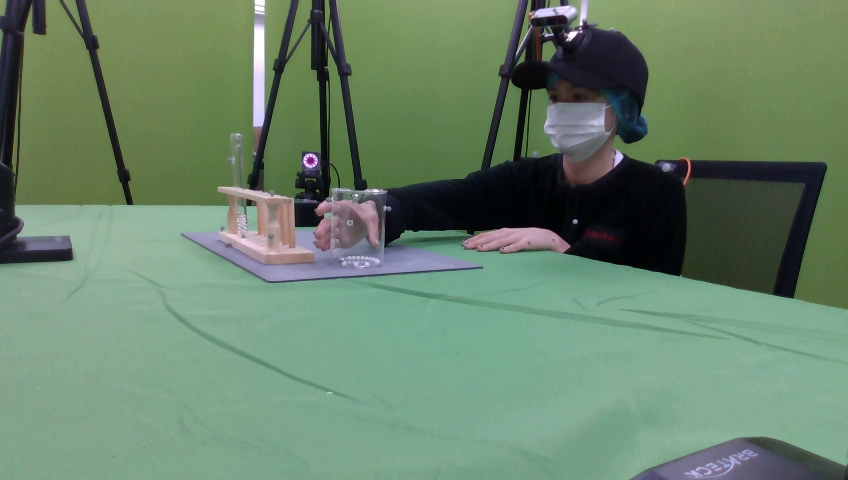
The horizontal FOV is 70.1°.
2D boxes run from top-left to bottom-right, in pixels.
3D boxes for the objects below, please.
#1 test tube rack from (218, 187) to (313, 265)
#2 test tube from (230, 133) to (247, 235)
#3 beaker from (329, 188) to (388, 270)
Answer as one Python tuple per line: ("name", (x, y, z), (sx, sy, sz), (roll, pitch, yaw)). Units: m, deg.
("test tube rack", (-0.235, -0.027, 0.872), (0.067, 0.085, 0.241), (-2, 8, -32))
("test tube", (-0.273, -0.081, 0.892), (0.017, 0.150, 0.017), (-1, 9, 0))
("beaker", (-0.087, -0.016, 0.786), (0.074, 0.100, 0.083), (1, 7, -13))
